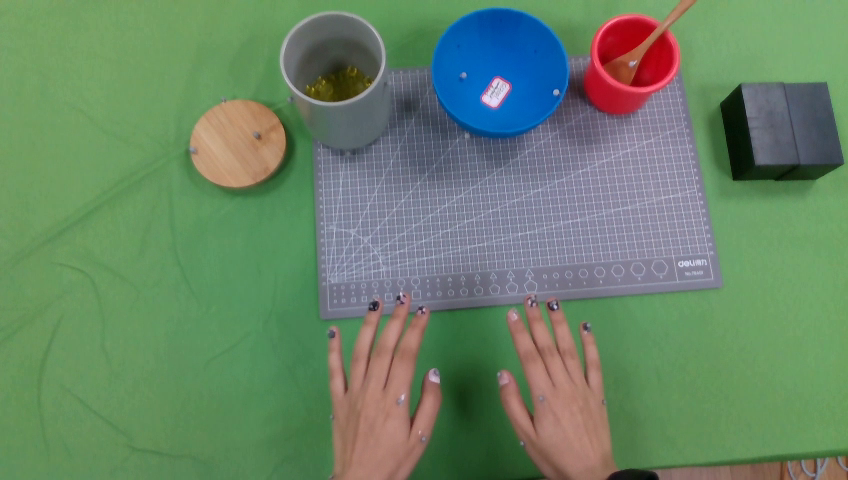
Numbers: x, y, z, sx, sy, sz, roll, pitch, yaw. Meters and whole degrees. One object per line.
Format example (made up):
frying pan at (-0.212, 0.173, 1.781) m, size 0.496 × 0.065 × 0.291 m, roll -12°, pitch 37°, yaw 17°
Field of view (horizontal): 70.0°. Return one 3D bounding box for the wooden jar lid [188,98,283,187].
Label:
wooden jar lid at (-0.216, -0.111, 0.701) m, size 0.108 × 0.021 × 0.108 m, roll 0°, pitch 76°, yaw 0°

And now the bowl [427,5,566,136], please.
bowl at (0.078, -0.178, 0.690) m, size 0.151 × 0.077 × 0.150 m, roll 0°, pitch 76°, yaw -1°

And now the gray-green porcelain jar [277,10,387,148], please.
gray-green porcelain jar at (-0.094, -0.167, 0.659) m, size 0.106 × 0.127 × 0.105 m, roll 0°, pitch 76°, yaw -1°

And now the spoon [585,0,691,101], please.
spoon at (0.255, -0.231, 0.671) m, size 0.041 × 0.022 × 0.194 m, roll 50°, pitch 125°, yaw 11°
